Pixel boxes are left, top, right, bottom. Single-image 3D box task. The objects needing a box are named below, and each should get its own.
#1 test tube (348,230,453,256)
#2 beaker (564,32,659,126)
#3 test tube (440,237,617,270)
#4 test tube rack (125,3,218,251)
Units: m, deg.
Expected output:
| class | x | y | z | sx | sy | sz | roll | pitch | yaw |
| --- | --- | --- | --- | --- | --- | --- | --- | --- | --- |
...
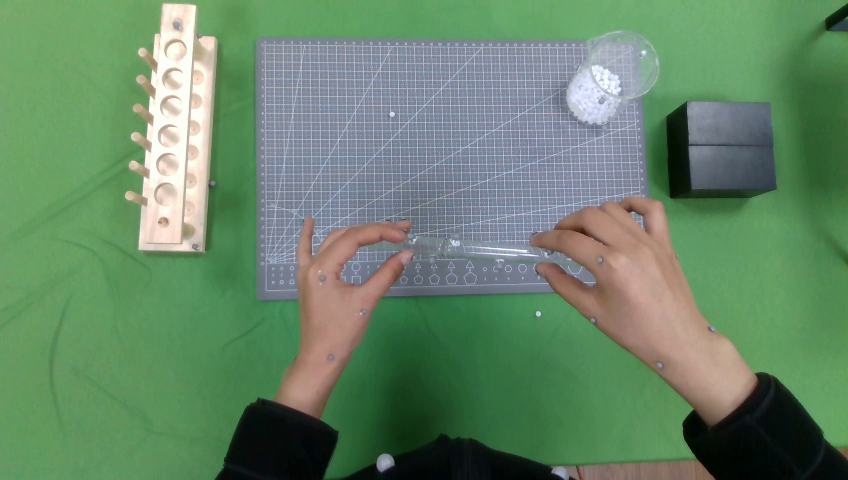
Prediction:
| class | x | y | z | sx | sy | sz | roll | pitch | yaw |
| --- | --- | --- | --- | --- | --- | --- | --- | --- | --- |
| test tube | -0.027 | 0.002 | 0.539 | 0.017 | 0.149 | 0.017 | -3 | 95 | -37 |
| beaker | 0.199 | -0.175 | 0.671 | 0.084 | 0.100 | 0.074 | 36 | 82 | 2 |
| test tube | 0.087 | 0.012 | 0.491 | 0.151 | 0.017 | 0.017 | 5 | 83 | -12 |
| test tube rack | -0.267 | -0.114 | 0.634 | 0.067 | 0.085 | 0.241 | 2 | 83 | -4 |
